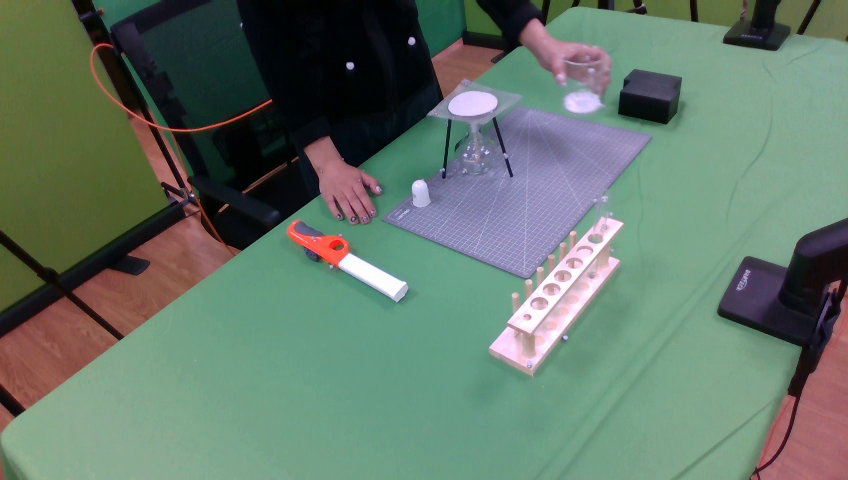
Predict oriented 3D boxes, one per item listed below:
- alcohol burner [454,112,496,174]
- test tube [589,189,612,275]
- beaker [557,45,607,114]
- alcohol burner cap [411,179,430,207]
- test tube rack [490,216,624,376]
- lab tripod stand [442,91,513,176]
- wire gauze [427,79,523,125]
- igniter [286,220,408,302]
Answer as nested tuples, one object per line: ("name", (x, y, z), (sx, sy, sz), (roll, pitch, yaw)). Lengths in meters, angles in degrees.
("alcohol burner", (0.092, -0.181, 1.102), (0.078, 0.119, 0.077), (-5, 42, 5))
("test tube", (0.238, -0.007, 0.818), (0.017, 0.151, 0.017), (-3, 43, 4))
("beaker", (0.276, -0.280, 1.065), (0.084, 0.101, 0.073), (-6, 40, 5))
("alcohol burner cap", (-0.008, -0.085, 1.063), (0.034, 0.048, 0.033), (-4, 40, 4))
("test tube rack", (0.184, 0.064, 0.822), (0.066, 0.085, 0.243), (24, 50, 33))
("lab tripod stand", (0.096, -0.190, 1.096), (0.148, 0.132, 0.147), (-4, 40, 4))
("wire gauze", (0.088, -0.239, 1.050), (0.120, 0.011, 0.125), (22, 50, 30))
("igniter", (-0.134, 0.028, 0.969), (0.274, 0.025, 0.057), (26, 61, 35))
